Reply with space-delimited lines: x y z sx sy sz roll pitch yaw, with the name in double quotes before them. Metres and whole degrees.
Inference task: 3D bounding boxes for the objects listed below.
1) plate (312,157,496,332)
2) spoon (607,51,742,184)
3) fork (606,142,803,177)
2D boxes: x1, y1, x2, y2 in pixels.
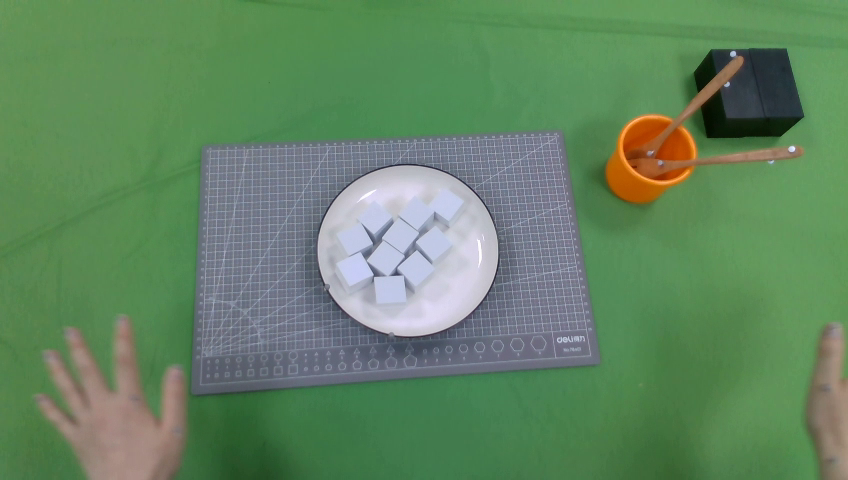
"plate" -0.023 0.006 0.696 0.208 0.039 0.206 1 72 -3
"spoon" 0.289 -0.138 0.703 0.041 0.194 0.022 51 34 16
"fork" 0.307 -0.093 0.684 0.206 0.019 0.028 -2 86 41
